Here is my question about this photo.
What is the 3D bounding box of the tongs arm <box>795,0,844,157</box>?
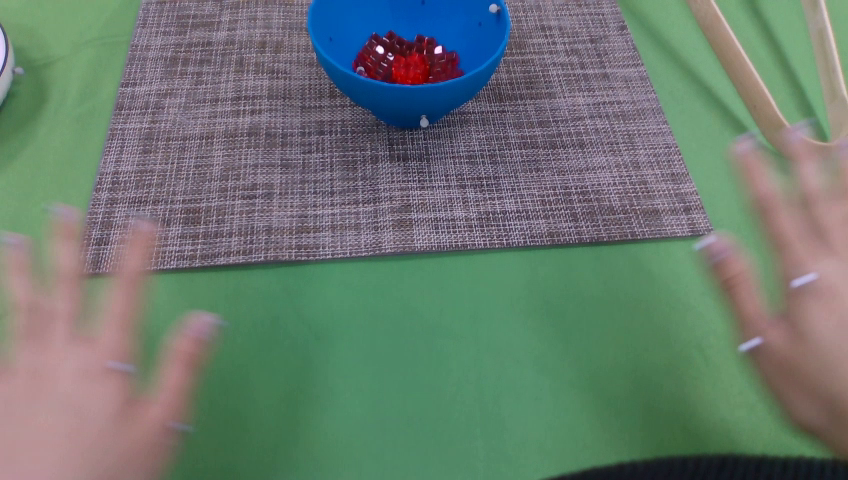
[{"bbox_3d":[0.326,-0.249,0.554,0.051,0.026,0.382,2,68,-5],"label":"tongs arm"}]

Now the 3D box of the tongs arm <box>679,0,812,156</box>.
[{"bbox_3d":[0.237,-0.242,0.546,0.028,0.028,0.384,-12,69,-13],"label":"tongs arm"}]

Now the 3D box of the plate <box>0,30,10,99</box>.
[{"bbox_3d":[-0.429,-0.114,0.467,0.209,0.038,0.207,2,57,-2],"label":"plate"}]

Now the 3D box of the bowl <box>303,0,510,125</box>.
[{"bbox_3d":[-0.014,-0.145,0.477,0.151,0.077,0.150,1,57,-1],"label":"bowl"}]
